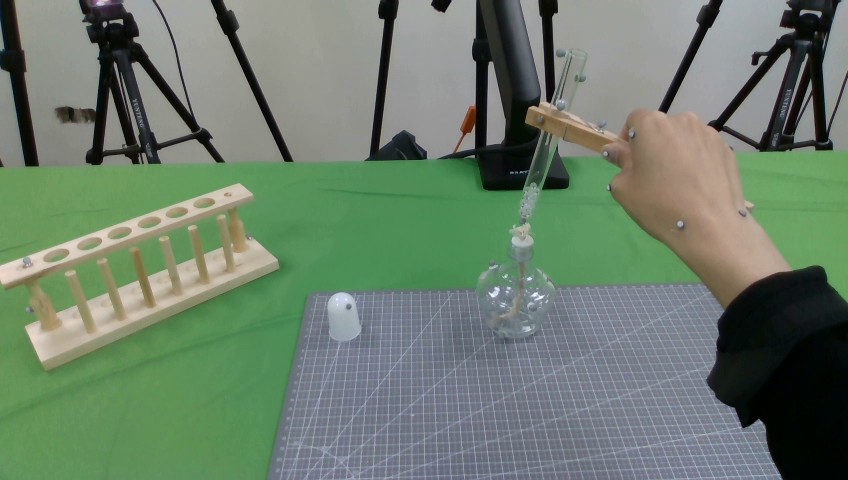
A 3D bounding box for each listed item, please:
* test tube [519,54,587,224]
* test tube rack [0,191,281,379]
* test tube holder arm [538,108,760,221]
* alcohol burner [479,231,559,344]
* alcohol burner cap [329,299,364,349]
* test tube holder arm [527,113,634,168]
[{"bbox_3d":[0.101,-0.075,0.487,0.017,0.151,0.017,7,37,-5],"label":"test tube"},{"bbox_3d":[-0.276,0.037,0.623,0.243,0.086,0.066,-26,41,-32],"label":"test tube rack"},{"bbox_3d":[0.156,-0.059,0.442,0.177,0.015,0.013,33,50,32],"label":"test tube holder arm"},{"bbox_3d":[0.091,0.040,0.576,0.078,0.120,0.077,0,36,0],"label":"alcohol burner"},{"bbox_3d":[-0.076,0.079,0.588,0.034,0.048,0.033,0,35,1],"label":"alcohol burner cap"},{"bbox_3d":[0.119,-0.076,0.462,0.087,0.015,0.010,27,47,27],"label":"test tube holder arm"}]
